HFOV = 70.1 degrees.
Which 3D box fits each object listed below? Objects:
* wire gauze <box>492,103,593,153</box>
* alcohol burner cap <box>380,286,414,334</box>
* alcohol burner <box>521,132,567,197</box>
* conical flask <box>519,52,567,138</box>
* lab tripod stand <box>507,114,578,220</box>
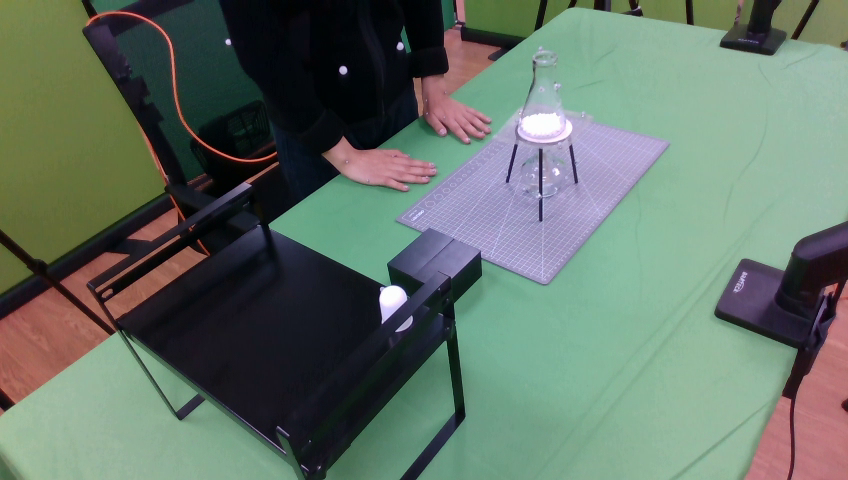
[{"bbox_3d":[0.190,-0.179,0.965,0.120,0.011,0.125,17,49,29],"label":"wire gauze"},{"bbox_3d":[-0.029,0.067,0.605,0.034,0.048,0.033,-5,39,4],"label":"alcohol burner cap"},{"bbox_3d":[0.203,-0.132,1.025,0.078,0.119,0.077,-5,42,5],"label":"alcohol burner"},{"bbox_3d":[0.183,-0.223,0.926,0.075,0.122,0.075,-4,41,4],"label":"conical flask"},{"bbox_3d":[0.198,-0.128,1.005,0.148,0.132,0.147,-3,42,3],"label":"lab tripod stand"}]
